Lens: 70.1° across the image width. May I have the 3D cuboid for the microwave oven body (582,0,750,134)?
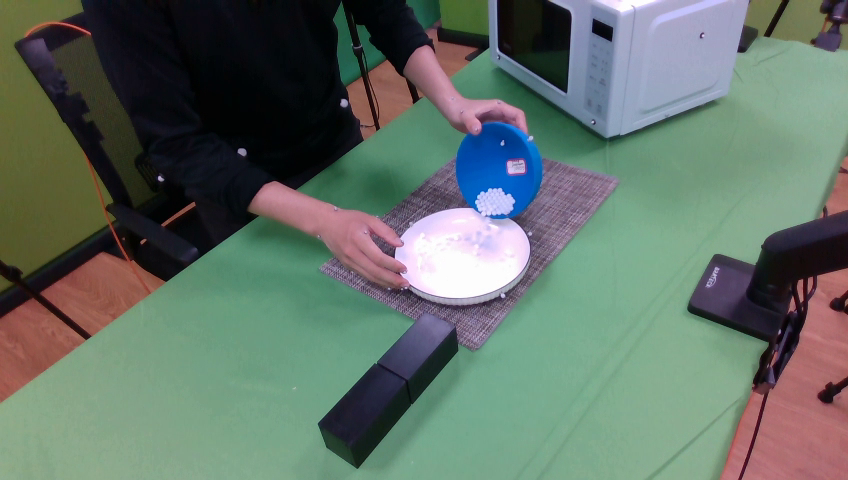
[{"bbox_3d":[0.382,-0.444,1.246,0.327,0.261,0.437,-22,42,-16],"label":"microwave oven body"}]

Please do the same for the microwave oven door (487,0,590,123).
[{"bbox_3d":[0.232,-0.420,1.230,0.039,0.245,0.352,-22,43,-16],"label":"microwave oven door"}]

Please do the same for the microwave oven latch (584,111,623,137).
[{"bbox_3d":[0.337,-0.222,1.142,0.030,0.029,0.078,-21,42,-14],"label":"microwave oven latch"}]

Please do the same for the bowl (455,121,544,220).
[{"bbox_3d":[0.131,-0.112,0.944,0.150,0.151,0.077,27,30,34],"label":"bowl"}]

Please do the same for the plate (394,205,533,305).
[{"bbox_3d":[0.059,0.025,0.915,0.207,0.039,0.206,-4,41,4],"label":"plate"}]
